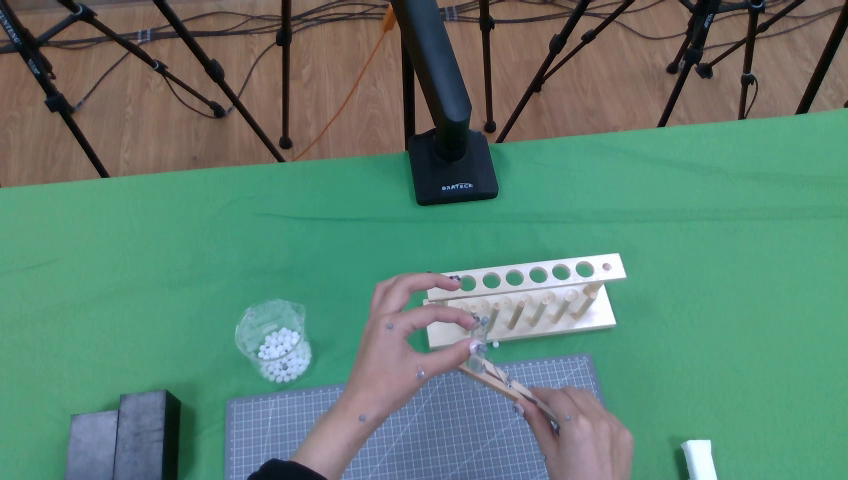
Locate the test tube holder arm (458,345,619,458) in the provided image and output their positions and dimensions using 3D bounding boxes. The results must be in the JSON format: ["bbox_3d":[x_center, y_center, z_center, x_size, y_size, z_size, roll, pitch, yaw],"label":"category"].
[{"bbox_3d":[0.109,0.156,0.593,0.177,0.015,0.013,30,71,17],"label":"test tube holder arm"}]

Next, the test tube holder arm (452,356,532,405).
[{"bbox_3d":[0.068,0.140,0.603,0.087,0.015,0.010,24,68,14],"label":"test tube holder arm"}]

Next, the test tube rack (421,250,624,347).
[{"bbox_3d":[0.122,0.074,0.757,0.243,0.086,0.066,-6,62,-6],"label":"test tube rack"}]

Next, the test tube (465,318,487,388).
[{"bbox_3d":[0.050,0.114,0.593,0.017,0.151,0.017,-1,58,2],"label":"test tube"}]

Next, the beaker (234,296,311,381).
[{"bbox_3d":[-0.171,0.118,0.712,0.084,0.101,0.073,-38,70,-21],"label":"beaker"}]

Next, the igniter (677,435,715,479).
[{"bbox_3d":[0.319,0.351,0.648,0.057,0.025,0.274,4,61,-11],"label":"igniter"}]
